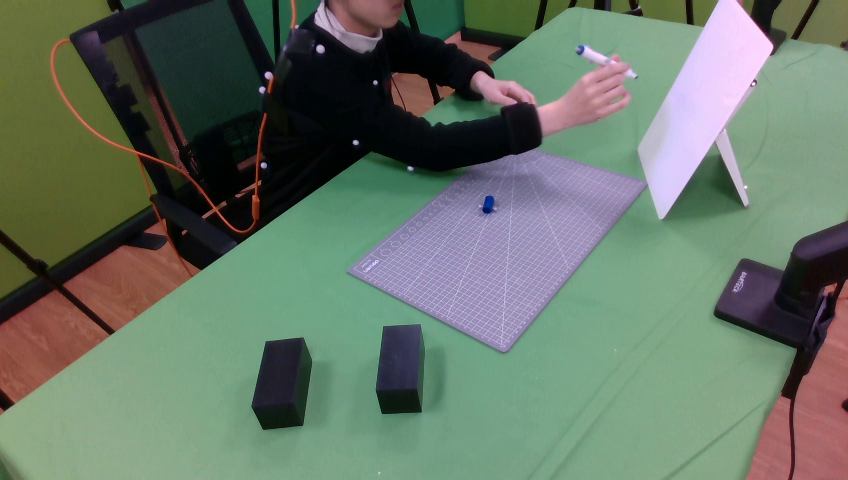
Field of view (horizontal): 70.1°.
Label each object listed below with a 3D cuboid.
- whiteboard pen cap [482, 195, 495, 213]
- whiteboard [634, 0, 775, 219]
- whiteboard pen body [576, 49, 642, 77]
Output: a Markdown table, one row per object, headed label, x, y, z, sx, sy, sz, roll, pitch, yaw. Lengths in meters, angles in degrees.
| label | x | y | z | sx | sy | sz | roll | pitch | yaw |
| --- | --- | --- | --- | --- | --- | --- | --- | --- | --- |
| whiteboard pen cap | 0.109 | -0.060 | 1.027 | 0.018 | 0.018 | 0.033 | 7 | 47 | 16 |
| whiteboard | 0.485 | -0.192 | 0.957 | 0.144 | 0.305 | 0.216 | 14 | 41 | -4 |
| whiteboard pen body | 0.299 | -0.281 | 0.969 | 0.142 | 0.017 | 0.017 | 7 | 33 | -29 |
